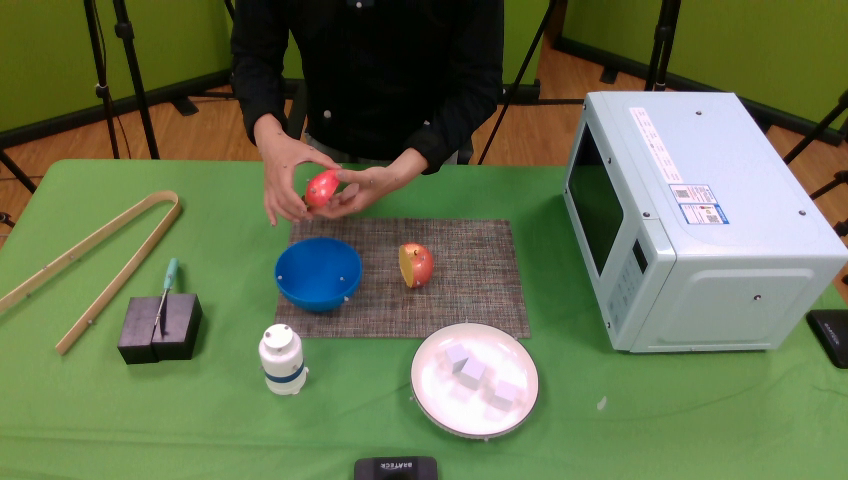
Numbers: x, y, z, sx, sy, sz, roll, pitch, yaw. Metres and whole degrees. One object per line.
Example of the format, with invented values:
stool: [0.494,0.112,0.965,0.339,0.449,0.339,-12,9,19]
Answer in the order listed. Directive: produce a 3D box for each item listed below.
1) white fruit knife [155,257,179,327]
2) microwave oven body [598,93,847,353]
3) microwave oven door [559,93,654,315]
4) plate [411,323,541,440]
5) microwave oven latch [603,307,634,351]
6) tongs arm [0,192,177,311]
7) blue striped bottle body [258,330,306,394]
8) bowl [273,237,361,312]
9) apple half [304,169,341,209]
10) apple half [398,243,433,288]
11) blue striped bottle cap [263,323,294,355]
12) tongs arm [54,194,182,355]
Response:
white fruit knife: [-0.440,0.085,1.037,0.016,0.027,0.206,10,26,-19]
microwave oven body: [0.475,-0.041,1.109,0.326,0.261,0.438,-1,45,-4]
microwave oven door: [0.327,-0.074,1.123,0.039,0.245,0.353,-1,46,-5]
plate: [0.082,0.228,0.976,0.208,0.039,0.206,2,45,-2]
microwave oven latch: [0.332,0.153,1.044,0.030,0.029,0.078,-1,45,-4]
tongs arm: [-0.618,0.019,1.124,0.050,0.026,0.384,24,47,16]
blue striped bottle body: [-0.220,0.182,0.937,0.063,0.121,0.062,2,46,-2]
bowl: [-0.186,0.075,1.070,0.151,0.077,0.150,3,46,-3]
apple half: [-0.170,-0.089,0.977,0.033,0.081,0.081,36,39,-26]
apple half: [-0.011,0.046,1.115,0.053,0.075,0.080,-11,44,-19]
blue striped bottle cap: [-0.217,0.146,0.901,0.044,0.021,0.044,1,46,-1]
tongs arm: [-0.543,0.048,1.107,0.028,0.028,0.385,11,46,10]
